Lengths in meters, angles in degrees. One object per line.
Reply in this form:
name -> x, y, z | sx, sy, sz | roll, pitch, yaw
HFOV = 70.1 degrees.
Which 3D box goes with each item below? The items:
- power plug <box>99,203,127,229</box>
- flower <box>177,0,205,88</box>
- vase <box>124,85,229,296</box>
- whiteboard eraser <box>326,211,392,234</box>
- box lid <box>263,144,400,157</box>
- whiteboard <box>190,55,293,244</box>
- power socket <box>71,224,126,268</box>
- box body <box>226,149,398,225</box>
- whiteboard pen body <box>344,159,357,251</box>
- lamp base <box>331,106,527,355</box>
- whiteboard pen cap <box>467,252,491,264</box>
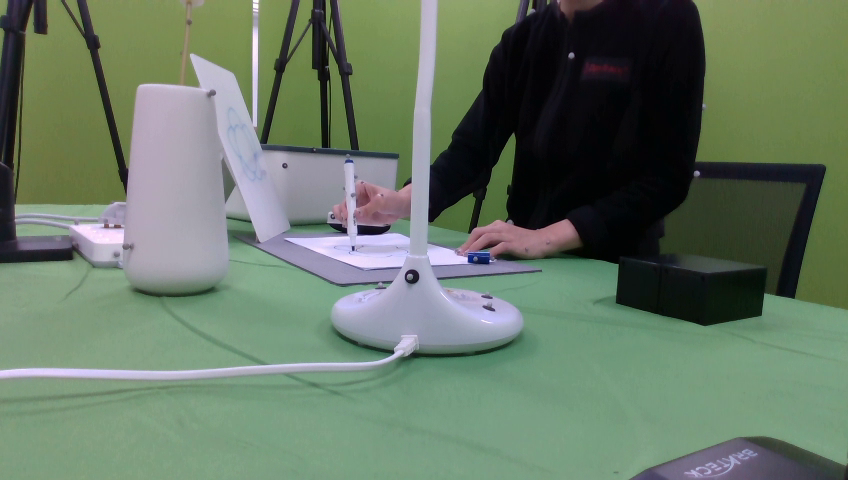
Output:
power plug -> -0.415, -0.026, 0.848 | 0.073, 0.052, 0.035 | 6, 5, -28
flower -> -0.243, -0.131, 0.609 | 0.044, 0.361, 0.038 | -5, -12, 12
vase -> -0.244, -0.047, 0.598 | 0.098, 0.200, 0.098 | 3, 8, 0
whiteboard eraser -> -0.121, -0.033, 1.131 | 0.112, 0.042, 0.056 | 4, 8, 13
box lid -> -0.263, -0.203, 1.369 | 0.262, 0.015, 0.373 | 9, 10, 39
whiteboard -> -0.362, -0.129, 1.029 | 0.144, 0.305, 0.217 | -18, 7, 3
power socket -> -0.409, 0.004, 0.793 | 0.072, 0.032, 0.225 | -2, 8, -37
box body -> -0.265, -0.129, 1.380 | 0.253, 0.160, 0.366 | 8, 9, 39
whiteboard pen body -> -0.110, -0.053, 0.910 | 0.017, 0.140, 0.017 | -3, -7, 0
lamp base -> 0.006, -0.012, 0.478 | 0.161, 0.180, 0.179 | 2, 10, 2
whiteboard pen cap -> 0.077, 0.025, 0.841 | 0.033, 0.018, 0.018 | 1, 7, 4
